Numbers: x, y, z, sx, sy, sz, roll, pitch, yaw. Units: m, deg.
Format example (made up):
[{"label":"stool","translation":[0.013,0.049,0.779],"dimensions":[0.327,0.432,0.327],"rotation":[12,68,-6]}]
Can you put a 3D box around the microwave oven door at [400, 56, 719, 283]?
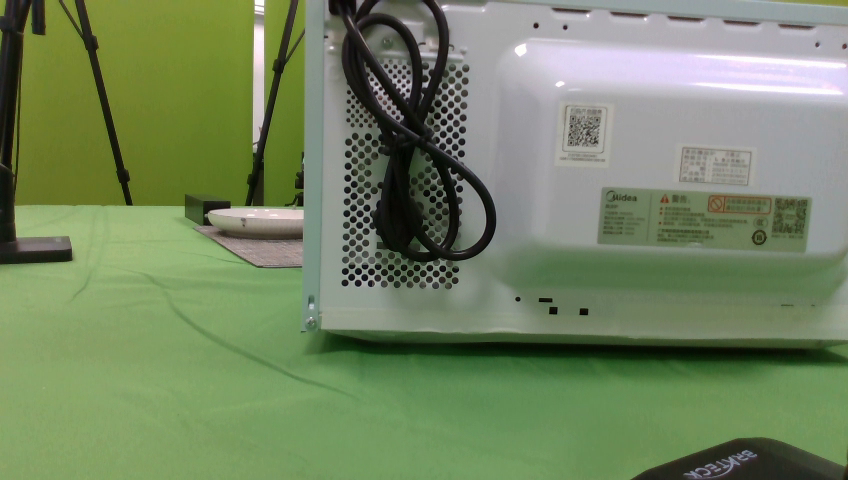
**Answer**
[{"label":"microwave oven door","translation":[0.155,-0.077,0.698],"dimensions":[0.356,0.243,0.039],"rotation":[2,8,-5]}]

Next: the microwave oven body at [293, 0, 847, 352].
[{"label":"microwave oven body","translation":[0.122,-0.055,0.550],"dimensions":[0.442,0.260,0.325],"rotation":[3,7,-5]}]

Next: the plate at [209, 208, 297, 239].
[{"label":"plate","translation":[-0.271,-0.029,1.074],"dimensions":[0.208,0.039,0.207],"rotation":[3,7,0]}]

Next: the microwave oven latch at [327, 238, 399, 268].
[{"label":"microwave oven latch","translation":[-0.069,0.015,0.694],"dimensions":[0.079,0.029,0.030],"rotation":[3,7,-3]}]
